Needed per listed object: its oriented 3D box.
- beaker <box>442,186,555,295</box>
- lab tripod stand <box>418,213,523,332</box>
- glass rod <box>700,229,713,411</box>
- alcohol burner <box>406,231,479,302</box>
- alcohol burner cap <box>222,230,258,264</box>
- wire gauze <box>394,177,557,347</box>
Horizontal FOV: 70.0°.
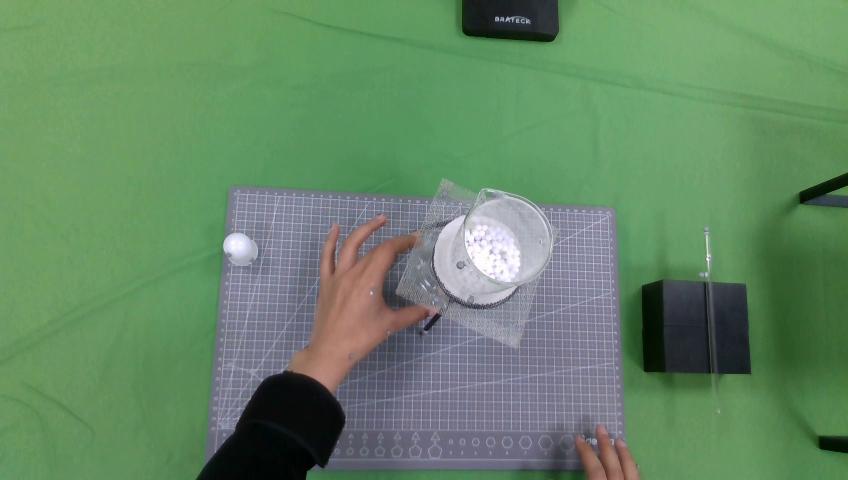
[{"bbox_3d":[0.056,0.005,0.513,0.074,0.100,0.083,-21,82,-12],"label":"beaker"},{"bbox_3d":[0.045,0.029,0.624,0.149,0.132,0.147,2,77,-8],"label":"lab tripod stand"},{"bbox_3d":[0.311,0.085,0.668,0.008,0.008,0.199,4,79,-7],"label":"glass rod"},{"bbox_3d":[0.023,0.025,0.631,0.078,0.119,0.077,2,79,-9],"label":"alcohol burner"},{"bbox_3d":[-0.196,0.006,0.641,0.034,0.048,0.033,1,78,-6],"label":"alcohol burner cap"},{"bbox_3d":[0.049,0.018,0.559,0.125,0.011,0.121,25,78,-6],"label":"wire gauze"}]
